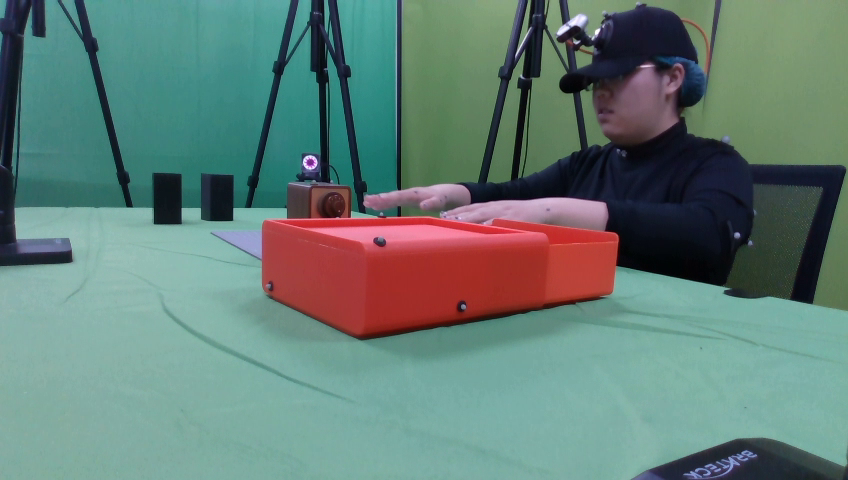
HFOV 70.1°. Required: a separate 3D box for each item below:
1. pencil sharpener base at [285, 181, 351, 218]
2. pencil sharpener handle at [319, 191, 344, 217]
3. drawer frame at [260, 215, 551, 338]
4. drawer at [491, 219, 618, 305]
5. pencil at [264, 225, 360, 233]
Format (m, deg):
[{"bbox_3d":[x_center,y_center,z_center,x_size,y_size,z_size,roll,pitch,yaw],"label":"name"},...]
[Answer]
[{"bbox_3d":[-0.139,-0.021,0.789,0.062,0.107,0.076,-2,9,-36],"label":"pencil sharpener base"},{"bbox_3d":[-0.107,-0.026,0.748,0.036,0.067,0.030,-6,11,-36],"label":"pencil sharpener handle"},{"bbox_3d":[-0.021,0.023,0.595,0.215,0.082,0.200,-4,10,-38],"label":"drawer frame"},{"bbox_3d":[0.071,0.021,0.670,0.213,0.073,0.193,-3,10,-39],"label":"drawer"},{"bbox_3d":[-0.212,-0.021,1.157,0.195,0.012,0.012,-3,9,-32],"label":"pencil"}]
